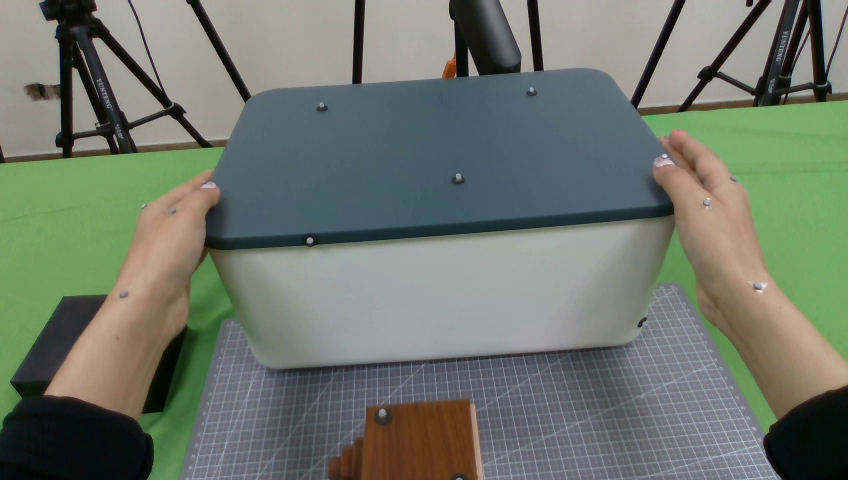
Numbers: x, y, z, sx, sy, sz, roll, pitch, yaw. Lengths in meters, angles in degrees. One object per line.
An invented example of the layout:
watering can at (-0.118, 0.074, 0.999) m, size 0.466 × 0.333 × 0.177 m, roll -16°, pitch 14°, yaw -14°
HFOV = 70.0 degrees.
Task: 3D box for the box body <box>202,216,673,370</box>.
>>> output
box body at (0.011, -0.024, 0.577) m, size 0.364 × 0.162 × 0.251 m, roll -4°, pitch 38°, yaw -1°

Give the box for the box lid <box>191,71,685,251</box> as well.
box lid at (0.005, -0.083, 0.530) m, size 0.372 × 0.015 × 0.260 m, roll -4°, pitch 37°, yaw -1°

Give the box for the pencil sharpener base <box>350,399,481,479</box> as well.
pencil sharpener base at (-0.004, 0.159, 0.391) m, size 0.077 × 0.108 × 0.061 m, roll -4°, pitch 39°, yaw 1°

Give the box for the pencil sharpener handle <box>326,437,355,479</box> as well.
pencil sharpener handle at (-0.056, 0.153, 0.384) m, size 0.030 × 0.068 × 0.035 m, roll -4°, pitch 42°, yaw 1°
